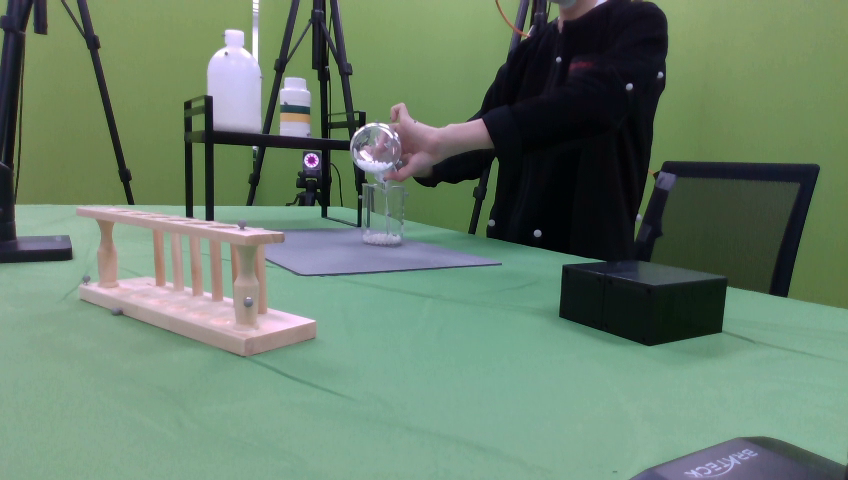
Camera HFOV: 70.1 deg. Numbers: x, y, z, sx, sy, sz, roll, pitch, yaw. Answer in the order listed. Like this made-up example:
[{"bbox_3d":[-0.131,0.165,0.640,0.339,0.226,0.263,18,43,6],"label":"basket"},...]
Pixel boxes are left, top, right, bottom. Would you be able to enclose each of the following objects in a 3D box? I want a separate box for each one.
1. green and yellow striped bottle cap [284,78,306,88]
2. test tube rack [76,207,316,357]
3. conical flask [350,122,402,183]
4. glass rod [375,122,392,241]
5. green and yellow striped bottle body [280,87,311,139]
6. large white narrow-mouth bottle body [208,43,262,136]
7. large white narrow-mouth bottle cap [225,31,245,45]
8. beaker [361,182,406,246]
[{"bbox_3d":[-0.268,-0.325,1.259,0.045,0.020,0.045,5,7,0],"label":"green and yellow striped bottle cap"},{"bbox_3d":[-0.196,0.023,0.500,0.241,0.085,0.067,8,9,36],"label":"test tube rack"},{"bbox_3d":[-0.066,-0.122,0.913,0.075,0.075,0.122,3,-12,4],"label":"conical flask"},{"bbox_3d":[-0.067,-0.097,0.999,0.008,0.199,0.008,-7,-4,0],"label":"glass rod"},{"bbox_3d":[-0.269,-0.274,1.266,0.063,0.119,0.063,3,7,0],"label":"green and yellow striped bottle body"},{"bbox_3d":[-0.368,-0.304,1.181,0.102,0.194,0.101,2,9,0],"label":"large white narrow-mouth bottle body"},{"bbox_3d":[-0.365,-0.388,1.166,0.038,0.024,0.037,2,9,0],"label":"large white narrow-mouth bottle cap"},{"bbox_3d":[-0.067,-0.042,0.993,0.074,0.100,0.084,1,8,-8],"label":"beaker"}]
